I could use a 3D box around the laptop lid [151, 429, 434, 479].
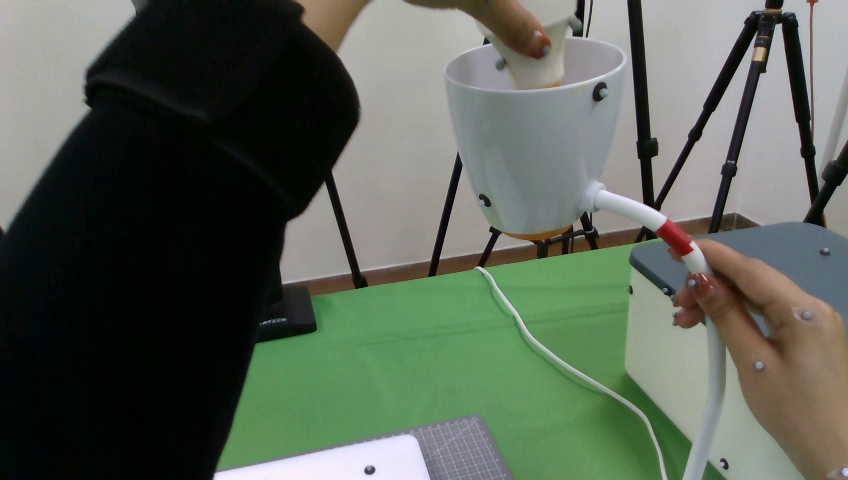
[{"bbox_3d":[-0.150,0.266,0.480,0.357,0.013,0.239,-7,29,-11],"label":"laptop lid"}]

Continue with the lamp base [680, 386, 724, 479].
[{"bbox_3d":[0.180,0.204,0.431,0.160,0.181,0.179,10,26,20],"label":"lamp base"}]

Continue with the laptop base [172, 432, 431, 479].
[{"bbox_3d":[-0.150,0.276,0.488,0.355,0.023,0.233,-8,30,-13],"label":"laptop base"}]

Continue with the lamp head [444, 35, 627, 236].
[{"bbox_3d":[0.077,-0.064,0.399,0.112,0.124,0.111,-9,28,5],"label":"lamp head"}]

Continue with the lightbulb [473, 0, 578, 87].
[{"bbox_3d":[0.064,-0.118,0.360,0.059,0.108,0.059,-12,31,8],"label":"lightbulb"}]

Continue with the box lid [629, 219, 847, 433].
[{"bbox_3d":[0.392,0.068,0.553,0.264,0.015,0.367,-8,27,-15],"label":"box lid"}]

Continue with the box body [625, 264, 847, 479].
[{"bbox_3d":[0.394,0.136,0.585,0.255,0.161,0.360,-9,27,-15],"label":"box body"}]
